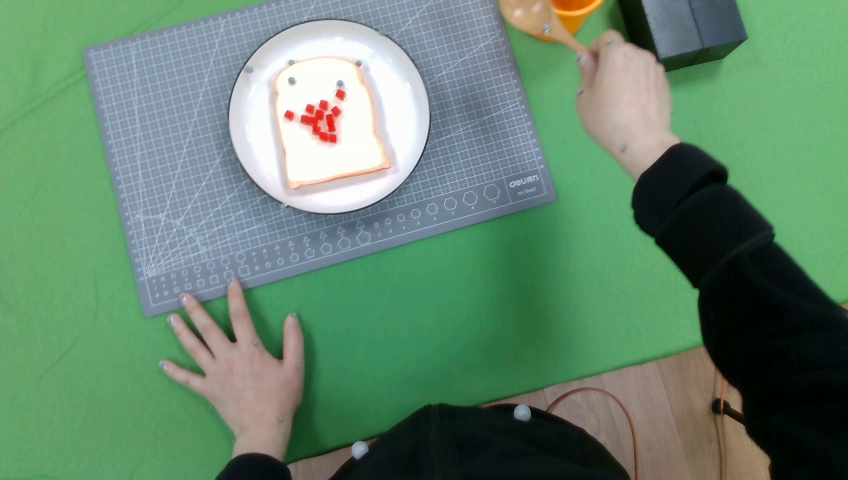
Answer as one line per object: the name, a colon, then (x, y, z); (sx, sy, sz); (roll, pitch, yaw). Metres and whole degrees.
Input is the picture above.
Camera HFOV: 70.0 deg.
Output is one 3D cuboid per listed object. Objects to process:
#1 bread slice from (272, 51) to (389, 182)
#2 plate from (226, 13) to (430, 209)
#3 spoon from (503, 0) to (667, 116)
bread slice: (-0.106, -0.132, 0.638); (0.107, 0.018, 0.134); (-16, 84, -5)
plate: (-0.098, -0.133, 0.638); (0.209, 0.038, 0.208); (0, 84, -2)
spoon: (0.143, -0.175, 0.546); (0.041, 0.022, 0.192); (-44, 72, 4)
